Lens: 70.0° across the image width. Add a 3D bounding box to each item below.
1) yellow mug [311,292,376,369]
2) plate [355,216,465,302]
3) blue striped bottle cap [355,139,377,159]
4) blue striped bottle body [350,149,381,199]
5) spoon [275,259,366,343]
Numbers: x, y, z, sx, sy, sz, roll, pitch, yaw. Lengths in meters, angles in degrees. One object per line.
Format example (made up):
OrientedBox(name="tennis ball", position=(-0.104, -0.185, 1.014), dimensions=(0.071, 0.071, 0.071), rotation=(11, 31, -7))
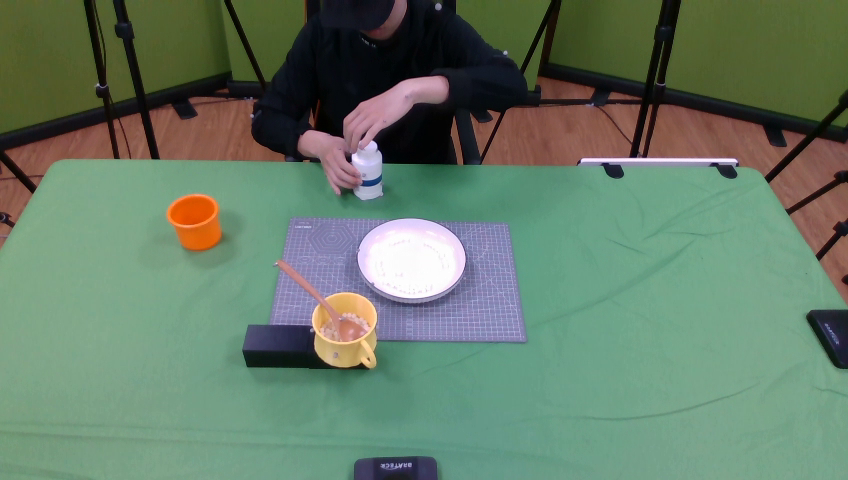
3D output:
OrientedBox(name="yellow mug", position=(-0.115, 0.150, 0.945), dimensions=(0.100, 0.064, 0.130), rotation=(-29, 57, -28))
OrientedBox(name="plate", position=(-0.027, 0.039, 1.144), dimensions=(0.208, 0.039, 0.206), rotation=(2, 46, -2))
OrientedBox(name="blue striped bottle cap", position=(-0.118, -0.184, 1.226), dimensions=(0.044, 0.021, 0.044), rotation=(0, 48, 0))
OrientedBox(name="blue striped bottle body", position=(-0.121, -0.149, 1.262), dimensions=(0.063, 0.121, 0.062), rotation=(2, 46, -2))
OrientedBox(name="spoon", position=(-0.161, 0.098, 0.946), dimensions=(0.194, 0.021, 0.041), rotation=(48, 56, -5))
